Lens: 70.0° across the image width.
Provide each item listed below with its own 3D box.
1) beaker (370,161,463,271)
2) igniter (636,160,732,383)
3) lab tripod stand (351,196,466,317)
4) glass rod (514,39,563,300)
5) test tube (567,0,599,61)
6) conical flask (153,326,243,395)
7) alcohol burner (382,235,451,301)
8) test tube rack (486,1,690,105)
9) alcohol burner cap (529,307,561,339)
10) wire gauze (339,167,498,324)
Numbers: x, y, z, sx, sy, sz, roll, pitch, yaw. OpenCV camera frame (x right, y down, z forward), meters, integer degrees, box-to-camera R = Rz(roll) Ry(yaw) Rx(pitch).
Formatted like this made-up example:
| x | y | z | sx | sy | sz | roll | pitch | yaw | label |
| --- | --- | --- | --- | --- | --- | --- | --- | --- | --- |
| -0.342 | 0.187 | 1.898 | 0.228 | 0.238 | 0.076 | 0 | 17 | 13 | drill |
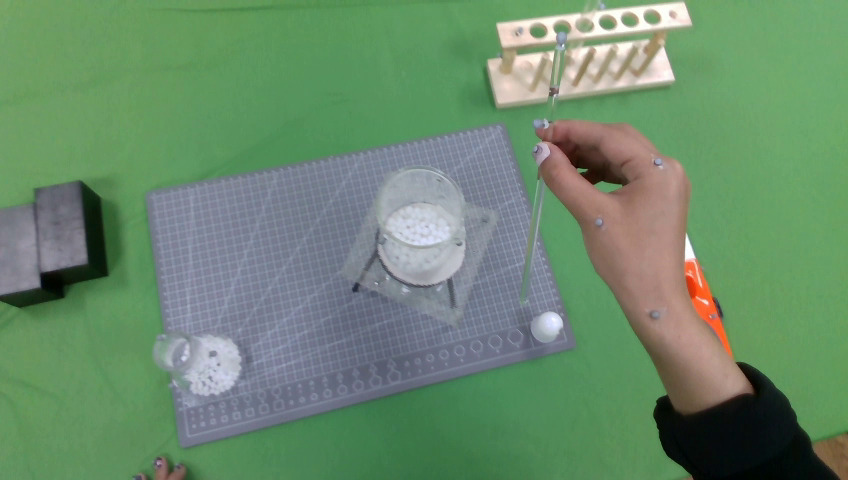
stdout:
| x | y | z | sx | sy | sz | roll | pitch | yaw | label |
| --- | --- | --- | --- | --- | --- | --- | --- | --- | --- |
| -0.005 | -0.015 | 0.544 | 0.084 | 0.101 | 0.074 | 36 | 75 | 7 | beaker |
| 0.311 | 0.032 | 0.729 | 0.057 | 0.025 | 0.274 | -7 | 73 | -17 | igniter |
| -0.010 | 0.020 | 0.652 | 0.148 | 0.132 | 0.147 | 1 | 74 | -2 | lab tripod stand |
| 0.075 | -0.035 | 0.410 | 0.008 | 0.201 | 0.008 | 1 | 37 | -1 | glass rod |
| 0.193 | -0.264 | 0.730 | 0.017 | 0.151 | 0.017 | 0 | 73 | -1 | test tube |
| -0.233 | 0.116 | 0.613 | 0.075 | 0.122 | 0.075 | 1 | 72 | -3 | conical flask |
| -0.008 | 0.026 | 0.661 | 0.078 | 0.119 | 0.077 | 1 | 74 | -2 | alcohol burner |
| 0.209 | -0.238 | 0.775 | 0.243 | 0.085 | 0.066 | -9 | 73 | -6 | test tube rack |
| 0.140 | 0.092 | 0.688 | 0.034 | 0.048 | 0.033 | 1 | 71 | -3 | alcohol burner cap |
| -0.004 | 0.002 | 0.589 | 0.125 | 0.011 | 0.121 | 24 | 76 | 2 | wire gauze |
